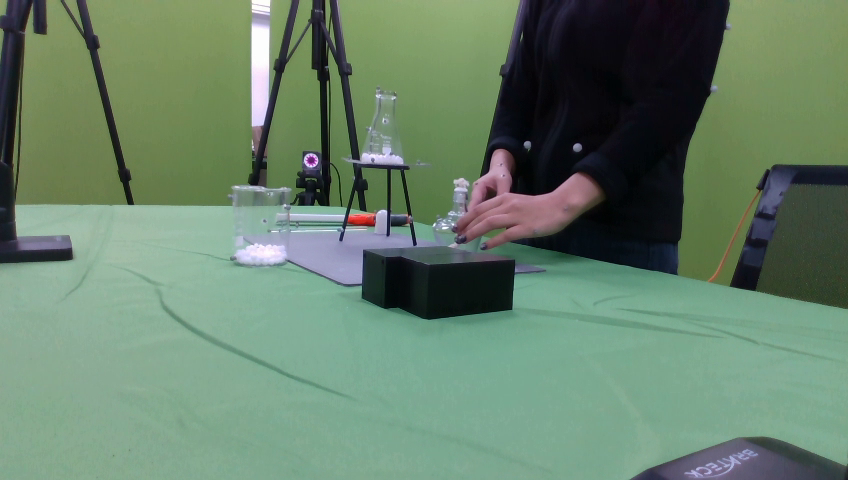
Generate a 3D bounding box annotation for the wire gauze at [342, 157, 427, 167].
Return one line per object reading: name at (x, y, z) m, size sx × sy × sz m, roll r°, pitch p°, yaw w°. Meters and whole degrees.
wire gauze at (-0.065, -0.130, 1.016) m, size 0.122 × 0.011 × 0.124 m, roll 2°, pitch 5°, yaw -27°

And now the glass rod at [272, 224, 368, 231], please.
glass rod at (-0.197, -0.024, 1.169) m, size 0.201 × 0.008 × 0.008 m, roll -3°, pitch 9°, yaw -33°

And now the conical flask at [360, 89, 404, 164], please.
conical flask at (-0.067, -0.189, 1.010) m, size 0.075 × 0.122 × 0.075 m, roll 4°, pitch 6°, yaw 0°

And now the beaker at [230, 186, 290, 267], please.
beaker at (-0.209, -0.019, 0.778) m, size 0.074 × 0.100 × 0.084 m, roll 3°, pitch 6°, yaw 4°

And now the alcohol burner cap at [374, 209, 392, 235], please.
alcohol burner cap at (-0.078, -0.036, 1.148) m, size 0.034 × 0.048 × 0.034 m, roll 2°, pitch 7°, yaw 0°

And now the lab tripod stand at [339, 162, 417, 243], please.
lab tripod stand at (-0.067, -0.065, 1.027) m, size 0.148 × 0.131 × 0.148 m, roll 4°, pitch 7°, yaw 0°

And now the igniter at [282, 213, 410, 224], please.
igniter at (-0.159, -0.046, 1.287) m, size 0.278 × 0.025 × 0.057 m, roll -1°, pitch -2°, yaw -21°

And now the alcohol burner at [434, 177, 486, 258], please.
alcohol burner at (0.055, -0.033, 0.896) m, size 0.078 × 0.119 × 0.078 m, roll 4°, pitch 8°, yaw 0°
